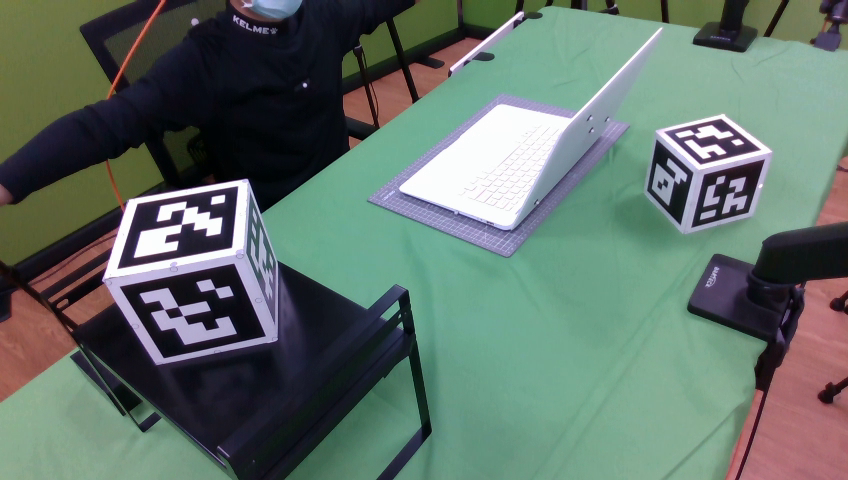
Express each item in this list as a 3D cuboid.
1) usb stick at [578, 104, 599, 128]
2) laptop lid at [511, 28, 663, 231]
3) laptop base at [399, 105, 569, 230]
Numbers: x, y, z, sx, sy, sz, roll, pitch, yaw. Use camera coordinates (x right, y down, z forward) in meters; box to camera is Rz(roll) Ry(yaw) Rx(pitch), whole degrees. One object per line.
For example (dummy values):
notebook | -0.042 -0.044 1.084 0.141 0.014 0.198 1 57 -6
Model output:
usb stick | 0.322 -0.242 1.189 0.021 0.027 0.059 24 53 29
laptop lid | 0.265 -0.179 0.972 0.013 0.242 0.357 36 53 14
laptop base | 0.149 -0.147 1.123 0.233 0.023 0.355 20 47 32
